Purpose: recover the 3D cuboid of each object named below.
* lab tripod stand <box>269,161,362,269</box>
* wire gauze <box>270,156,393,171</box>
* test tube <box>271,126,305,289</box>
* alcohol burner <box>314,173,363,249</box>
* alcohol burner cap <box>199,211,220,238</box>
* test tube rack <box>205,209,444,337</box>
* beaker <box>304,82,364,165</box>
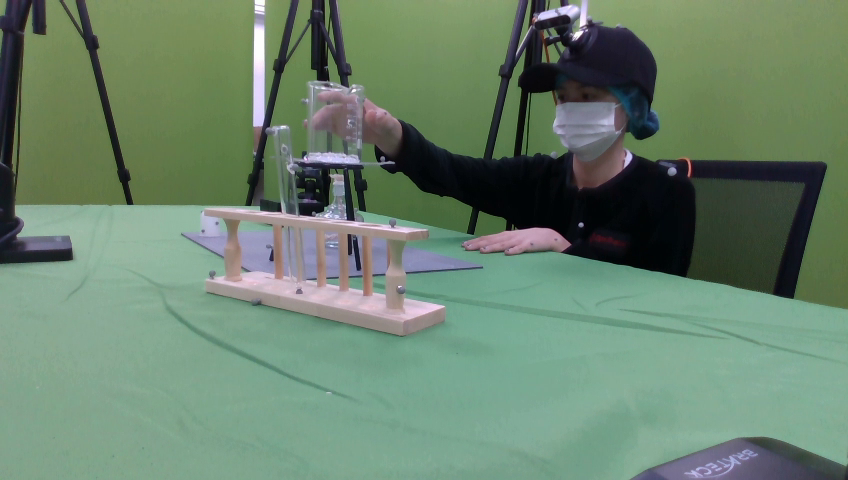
[{"bbox_3d":[-0.125,-0.036,0.794,0.148,0.131,0.148,5,7,0],"label":"lab tripod stand"},{"bbox_3d":[-0.122,-0.100,0.786,0.122,0.011,0.124,-5,14,-38],"label":"wire gauze"},{"bbox_3d":[-0.124,-0.028,0.554,0.017,0.150,0.017,-5,7,1],"label":"test tube"},{"bbox_3d":[-0.135,-0.046,0.952,0.078,0.119,0.078,1,9,0],"label":"alcohol burner"},{"bbox_3d":[-0.356,-0.027,1.002,0.034,0.048,0.034,2,7,0],"label":"alcohol burner cap"},{"bbox_3d":[-0.100,0.021,0.565,0.241,0.085,0.067,7,8,32],"label":"test tube rack"},{"bbox_3d":[-0.115,-0.148,0.779,0.074,0.100,0.083,-2,10,-30],"label":"beaker"}]
